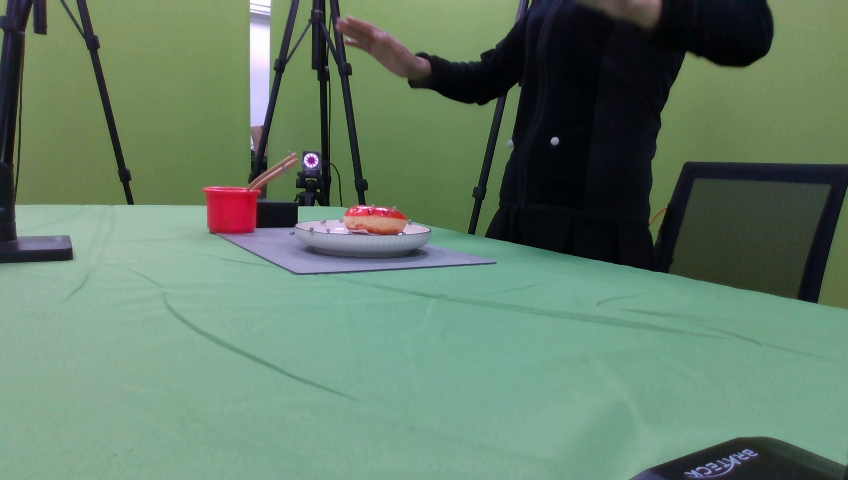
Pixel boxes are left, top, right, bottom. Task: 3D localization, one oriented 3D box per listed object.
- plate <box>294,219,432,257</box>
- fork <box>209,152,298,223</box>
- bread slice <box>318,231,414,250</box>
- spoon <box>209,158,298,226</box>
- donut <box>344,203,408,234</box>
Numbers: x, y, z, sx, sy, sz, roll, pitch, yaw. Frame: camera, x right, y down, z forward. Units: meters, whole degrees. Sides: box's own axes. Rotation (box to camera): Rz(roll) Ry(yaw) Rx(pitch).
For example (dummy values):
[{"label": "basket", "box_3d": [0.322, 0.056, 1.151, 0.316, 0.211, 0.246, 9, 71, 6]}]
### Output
[{"label": "plate", "box_3d": [-0.092, -0.004, 0.924, 0.209, 0.038, 0.209, 2, 7, 0]}, {"label": "fork", "box_3d": [-0.296, -0.088, 1.044, 0.207, 0.018, 0.028, -38, 10, 15]}, {"label": "bread slice", "box_3d": [-0.093, -0.001, 0.915, 0.132, 0.019, 0.104, 0, 6, -26]}, {"label": "spoon", "box_3d": [-0.303, -0.086, 1.082, 0.194, 0.022, 0.041, -44, 24, -8]}, {"label": "donut", "box_3d": [-0.074, -0.031, 0.931, 0.099, 0.048, 0.099, 4, 3, 0]}]
